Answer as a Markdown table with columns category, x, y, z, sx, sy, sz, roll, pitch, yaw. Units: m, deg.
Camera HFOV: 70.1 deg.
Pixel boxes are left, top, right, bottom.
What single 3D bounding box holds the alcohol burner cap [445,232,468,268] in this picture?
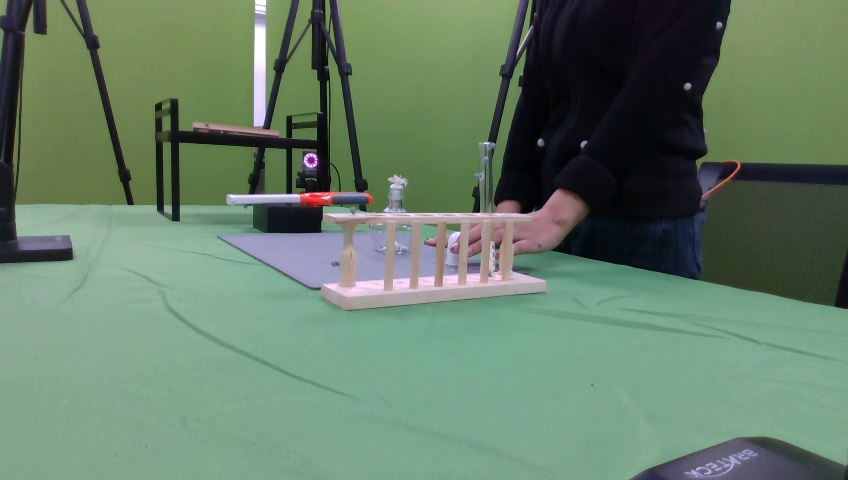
| category | x | y | z | sx | sy | sz | roll | pitch | yaw |
| --- | --- | --- | --- | --- | --- | --- | --- | --- | --- |
| alcohol burner cap | 0.045 | 0.013 | 0.829 | 0.034 | 0.048 | 0.034 | 2 | 7 | 0 |

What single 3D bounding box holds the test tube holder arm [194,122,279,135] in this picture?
| category | x | y | z | sx | sy | sz | roll | pitch | yaw |
| --- | --- | --- | --- | --- | --- | --- | --- | --- | --- |
| test tube holder arm | -0.401 | -0.238 | 1.301 | 0.179 | 0.015 | 0.013 | -2 | -21 | -29 |

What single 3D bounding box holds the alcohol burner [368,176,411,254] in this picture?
| category | x | y | z | sx | sy | sz | roll | pitch | yaw |
| --- | --- | --- | --- | --- | --- | --- | --- | --- | --- |
| alcohol burner | -0.045 | -0.038 | 0.913 | 0.078 | 0.119 | 0.078 | 5 | 7 | 0 |

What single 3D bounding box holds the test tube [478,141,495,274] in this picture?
| category | x | y | z | sx | sy | sz | roll | pitch | yaw |
| --- | --- | --- | --- | --- | --- | --- | --- | --- | --- |
| test tube | 0.071 | -0.035 | 0.683 | 0.017 | 0.150 | 0.017 | -2 | 8 | 1 |

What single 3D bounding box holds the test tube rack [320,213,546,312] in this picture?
| category | x | y | z | sx | sy | sz | roll | pitch | yaw |
| --- | --- | --- | --- | --- | --- | --- | --- | --- | --- |
| test tube rack | 0.017 | 0.017 | 0.638 | 0.244 | 0.085 | 0.066 | -2 | 9 | -31 |

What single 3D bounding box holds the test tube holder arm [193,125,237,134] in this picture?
| category | x | y | z | sx | sy | sz | roll | pitch | yaw |
| --- | --- | --- | --- | --- | --- | --- | --- | --- | --- |
| test tube holder arm | -0.443 | -0.235 | 1.284 | 0.088 | 0.015 | 0.010 | -2 | -21 | -28 |

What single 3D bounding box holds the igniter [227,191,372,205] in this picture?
| category | x | y | z | sx | sy | sz | roll | pitch | yaw |
| --- | --- | --- | --- | --- | --- | --- | --- | --- | --- |
| igniter | -0.232 | -0.080 | 1.162 | 0.278 | 0.025 | 0.057 | -3 | 12 | -28 |
